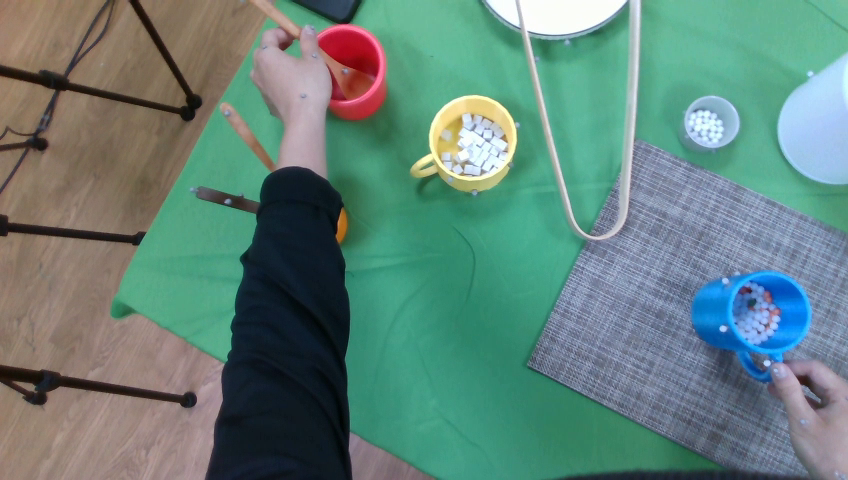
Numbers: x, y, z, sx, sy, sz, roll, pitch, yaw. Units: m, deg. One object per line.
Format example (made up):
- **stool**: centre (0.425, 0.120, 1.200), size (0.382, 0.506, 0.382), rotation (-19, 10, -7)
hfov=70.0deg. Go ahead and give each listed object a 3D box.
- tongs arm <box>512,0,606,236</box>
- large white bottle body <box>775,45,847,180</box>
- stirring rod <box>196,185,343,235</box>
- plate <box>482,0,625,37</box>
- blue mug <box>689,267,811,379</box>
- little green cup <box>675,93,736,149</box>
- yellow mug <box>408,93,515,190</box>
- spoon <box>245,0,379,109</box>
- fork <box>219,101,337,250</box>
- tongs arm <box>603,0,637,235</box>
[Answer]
- **tongs arm**: centre (0.147, -0.189, 0.708), size (0.051, 0.026, 0.384), rotation (-12, 90, -1)
- **large white bottle body**: centre (0.471, -0.145, 0.627), size (0.130, 0.185, 0.130), rotation (0, 83, 4)
- **stirring rod**: centre (-0.168, -0.032, 0.682), size (0.177, 0.006, 0.014), rotation (16, 77, -36)
- **plate**: centre (0.159, -0.345, 0.745), size (0.207, 0.039, 0.207), rotation (0, 84, 4)
- **blue mug**: centre (0.347, 0.090, 0.645), size (0.082, 0.106, 0.116), rotation (-12, 83, 3)
- **little green cup**: centre (0.326, -0.136, 0.710), size (0.061, 0.039, 0.061), rotation (0, 84, 4)
- **yellow mug**: centre (0.041, -0.107, 0.712), size (0.131, 0.064, 0.099), rotation (-25, 83, 2)
- **spoon**: centre (-0.127, -0.219, 0.697), size (0.196, 0.021, 0.041), rotation (37, 82, -36)
- **fork**: centre (-0.160, -0.067, 0.679), size (0.028, 0.018, 0.209), rotation (-35, 125, -4)
- **tongs arm**: centre (0.231, -0.199, 0.707), size (0.028, 0.028, 0.387), rotation (2, 90, -4)
